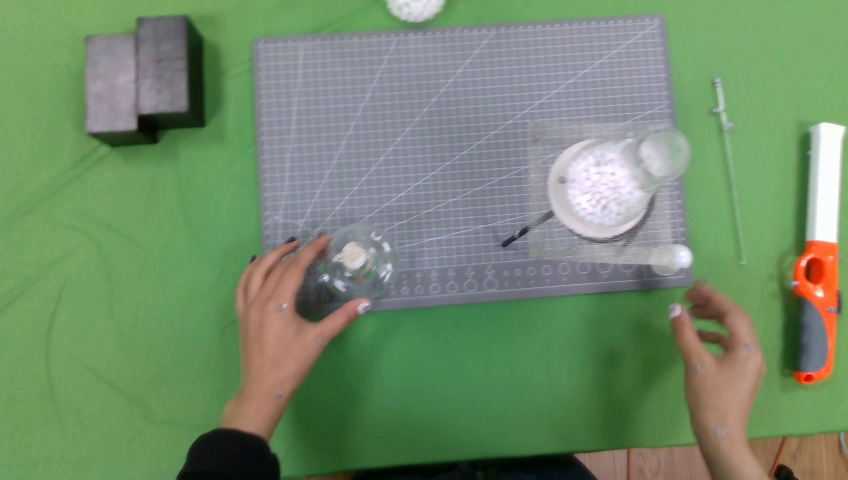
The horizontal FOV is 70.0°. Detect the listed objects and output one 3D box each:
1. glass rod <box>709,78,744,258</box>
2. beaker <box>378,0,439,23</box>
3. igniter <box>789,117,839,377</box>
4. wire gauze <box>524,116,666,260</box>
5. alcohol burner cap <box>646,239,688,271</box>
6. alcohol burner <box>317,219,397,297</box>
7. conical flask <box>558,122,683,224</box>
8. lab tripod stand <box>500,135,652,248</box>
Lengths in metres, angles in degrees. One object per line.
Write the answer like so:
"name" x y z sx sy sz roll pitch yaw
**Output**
"glass rod" 0.326 -0.079 0.655 0.008 0.008 0.199 -6 84 -3
"beaker" -0.014 -0.273 0.617 0.084 0.100 0.074 31 85 1
"igniter" 0.415 0.007 0.642 0.057 0.025 0.276 7 84 -11
"wire gauze" 0.147 -0.045 0.515 0.125 0.011 0.121 1 87 -4
"alcohol burner cap" 0.254 0.014 0.625 0.034 0.048 0.034 0 84 -2
"alcohol burner" -0.066 0.017 0.578 0.078 0.119 0.077 0 86 0
"conical flask" 0.151 -0.054 0.457 0.075 0.122 0.075 0 86 -2
"lab tripod stand" 0.147 -0.037 0.580 0.148 0.131 0.148 0 86 -1
